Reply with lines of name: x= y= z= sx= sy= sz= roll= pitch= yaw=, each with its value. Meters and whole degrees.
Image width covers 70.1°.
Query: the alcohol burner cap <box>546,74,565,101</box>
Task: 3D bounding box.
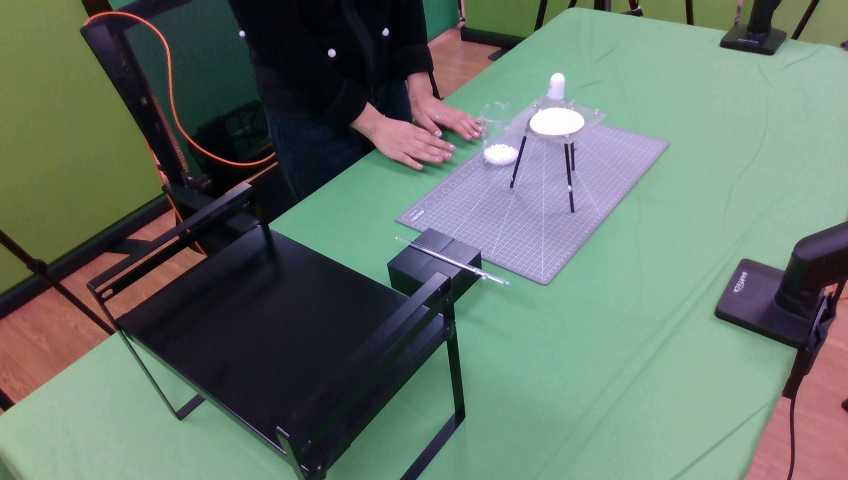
alcohol burner cap: x=0.251 y=-0.292 z=1.150 sx=0.034 sy=0.048 sz=0.033 roll=0 pitch=41 yaw=0

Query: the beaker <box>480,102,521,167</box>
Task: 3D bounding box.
beaker: x=0.143 y=-0.195 z=1.120 sx=0.074 sy=0.101 sz=0.084 roll=3 pitch=41 yaw=12

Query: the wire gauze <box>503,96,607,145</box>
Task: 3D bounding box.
wire gauze: x=0.211 y=-0.192 z=0.975 sx=0.120 sy=0.011 sz=0.125 roll=24 pitch=49 yaw=32

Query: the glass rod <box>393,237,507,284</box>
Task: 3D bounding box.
glass rod: x=0.033 y=0.028 z=0.874 sx=0.198 sy=0.008 sz=0.008 roll=21 pitch=48 yaw=31

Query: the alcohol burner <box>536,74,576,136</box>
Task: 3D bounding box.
alcohol burner: x=0.256 y=-0.264 z=1.173 sx=0.078 sy=0.119 sz=0.077 roll=-6 pitch=40 yaw=5

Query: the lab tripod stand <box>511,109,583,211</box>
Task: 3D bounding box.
lab tripod stand: x=0.220 y=-0.138 z=1.014 sx=0.148 sy=0.132 sz=0.147 roll=-3 pitch=41 yaw=3
